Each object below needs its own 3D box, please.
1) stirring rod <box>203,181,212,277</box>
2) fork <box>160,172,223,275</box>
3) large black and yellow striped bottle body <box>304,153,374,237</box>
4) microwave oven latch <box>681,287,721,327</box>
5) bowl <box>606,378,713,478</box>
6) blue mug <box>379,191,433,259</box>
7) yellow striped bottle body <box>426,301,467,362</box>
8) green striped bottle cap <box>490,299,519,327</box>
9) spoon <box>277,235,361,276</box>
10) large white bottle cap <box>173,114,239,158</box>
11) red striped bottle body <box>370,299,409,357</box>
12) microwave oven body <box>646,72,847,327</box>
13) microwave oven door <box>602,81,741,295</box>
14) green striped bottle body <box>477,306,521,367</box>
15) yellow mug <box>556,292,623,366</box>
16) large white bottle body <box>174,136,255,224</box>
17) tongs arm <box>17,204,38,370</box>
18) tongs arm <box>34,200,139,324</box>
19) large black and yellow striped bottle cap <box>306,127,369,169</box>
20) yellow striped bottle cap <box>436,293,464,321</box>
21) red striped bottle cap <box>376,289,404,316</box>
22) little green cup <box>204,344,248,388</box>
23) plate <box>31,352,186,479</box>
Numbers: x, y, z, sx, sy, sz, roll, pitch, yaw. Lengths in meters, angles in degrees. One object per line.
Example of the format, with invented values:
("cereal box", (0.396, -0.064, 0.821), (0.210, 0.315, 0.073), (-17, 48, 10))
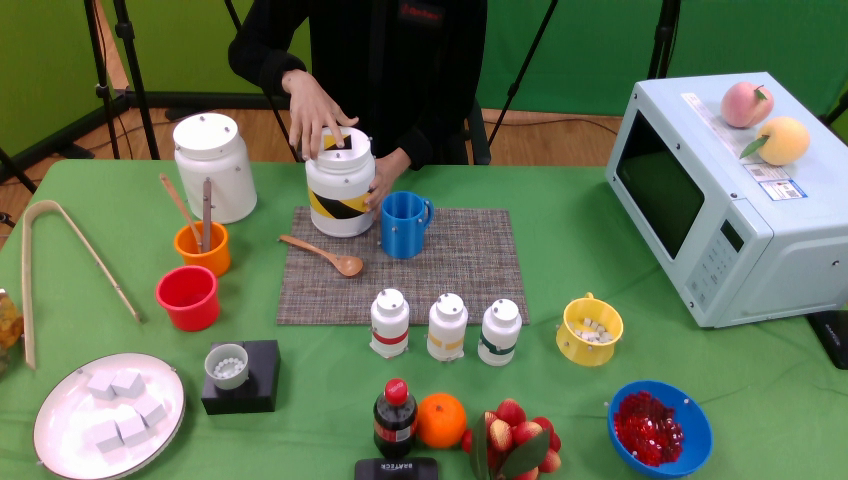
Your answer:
("stirring rod", (-0.396, -0.021, 1.108), (0.014, 0.006, 0.176), (-1, 89, -1))
("fork", (-0.425, -0.030, 1.103), (0.028, 0.018, 0.207), (-29, 98, -19))
("large black and yellow striped bottle body", (-0.162, -0.110, 1.173), (0.131, 0.185, 0.130), (3, 46, -2))
("microwave oven latch", (0.494, 0.119, 1.087), (0.030, 0.029, 0.078), (-6, 46, -9))
("bowl", (0.340, 0.292, 0.906), (0.151, 0.077, 0.150), (2, 46, -2))
("blue mug", (-0.031, -0.035, 1.167), (0.116, 0.106, 0.082), (-26, 54, -27))
("yellow striped bottle body", (0.037, 0.142, 0.996), (0.063, 0.121, 0.062), (2, 46, -2))
("green striped bottle cap", (0.128, 0.115, 0.958), (0.044, 0.020, 0.044), (2, 48, -2))
("spoon", (-0.202, 0.023, 1.155), (0.193, 0.022, 0.041), (23, 71, 18))
("large white bottle cap", (-0.403, -0.195, 1.122), (0.115, 0.018, 0.114), (2, 47, -2))
("red striped bottle body", (-0.057, 0.135, 0.997), (0.063, 0.120, 0.062), (2, 47, -2))
("microwave oven body", (0.607, -0.089, 1.164), (0.326, 0.261, 0.438), (-7, 46, -10))
("microwave oven door", (0.456, -0.107, 1.162), (0.039, 0.245, 0.353), (-7, 47, -11))
("green striped bottle body", (0.124, 0.151, 0.995), (0.063, 0.120, 0.063), (2, 46, -2))
("yellow mug", (0.285, 0.145, 1.051), (0.100, 0.064, 0.130), (7, 45, 3))
("large white bottle body", (-0.408, -0.137, 1.183), (0.131, 0.185, 0.130), (2, 46, -2))
("tongs arm", (-0.698, 0.069, 1.068), (0.028, 0.028, 0.385), (-20, 50, -13))
("tongs arm", (-0.622, 0.034, 1.105), (0.051, 0.026, 0.382), (-32, 55, -26))
("large black and yellow striped bottle cap", (-0.158, -0.171, 1.110), (0.115, 0.019, 0.114), (3, 42, -3))
("yellow striped bottle cap", (0.041, 0.106, 0.959), (0.044, 0.019, 0.044), (-1, 50, 1))
("red striped bottle cap", (-0.054, 0.098, 0.958), (0.044, 0.018, 0.044), (0, 48, 0))
("little green cup", (-0.294, 0.191, 0.909), (0.061, 0.039, 0.061), (1, 48, -1))
("plate", (-0.459, 0.262, 0.898), (0.209, 0.038, 0.208), (2, 46, -2))
